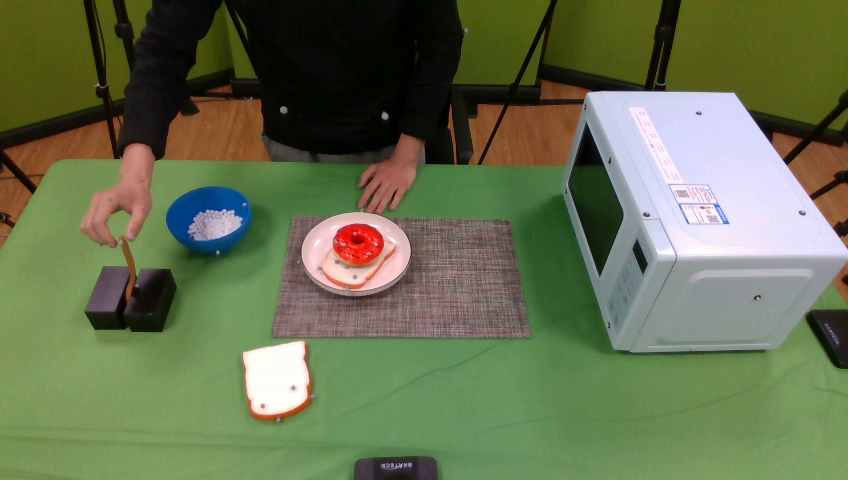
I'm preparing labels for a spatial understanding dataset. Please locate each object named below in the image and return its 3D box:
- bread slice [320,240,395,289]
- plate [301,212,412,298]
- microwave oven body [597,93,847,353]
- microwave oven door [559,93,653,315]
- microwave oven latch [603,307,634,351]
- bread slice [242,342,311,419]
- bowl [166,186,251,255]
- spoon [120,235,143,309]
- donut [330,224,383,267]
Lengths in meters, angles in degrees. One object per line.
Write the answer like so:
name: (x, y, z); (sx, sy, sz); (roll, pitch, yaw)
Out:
bread slice: (-0.129, 0.037, 1.141); (0.107, 0.018, 0.134); (19, 47, 14)
plate: (-0.126, 0.031, 1.145); (0.208, 0.039, 0.206); (2, 46, -2)
microwave oven body: (0.475, -0.041, 1.109); (0.326, 0.261, 0.438); (-1, 45, -4)
microwave oven door: (0.327, -0.074, 1.123); (0.039, 0.245, 0.353); (-1, 46, -5)
microwave oven latch: (0.332, 0.153, 1.044); (0.030, 0.029, 0.078); (0, 45, -4)
bread slice: (-0.234, 0.223, 0.970); (0.105, 0.019, 0.130); (-10, 46, -12)
bowl: (-0.403, -0.024, 1.154); (0.151, 0.077, 0.150); (2, 46, -2)
spoon: (-0.479, 0.053, 0.991); (0.022, 0.194, 0.041); (16, 48, -9)
donut: (-0.125, 0.010, 1.127); (0.099, 0.048, 0.098); (3, 45, -3)
